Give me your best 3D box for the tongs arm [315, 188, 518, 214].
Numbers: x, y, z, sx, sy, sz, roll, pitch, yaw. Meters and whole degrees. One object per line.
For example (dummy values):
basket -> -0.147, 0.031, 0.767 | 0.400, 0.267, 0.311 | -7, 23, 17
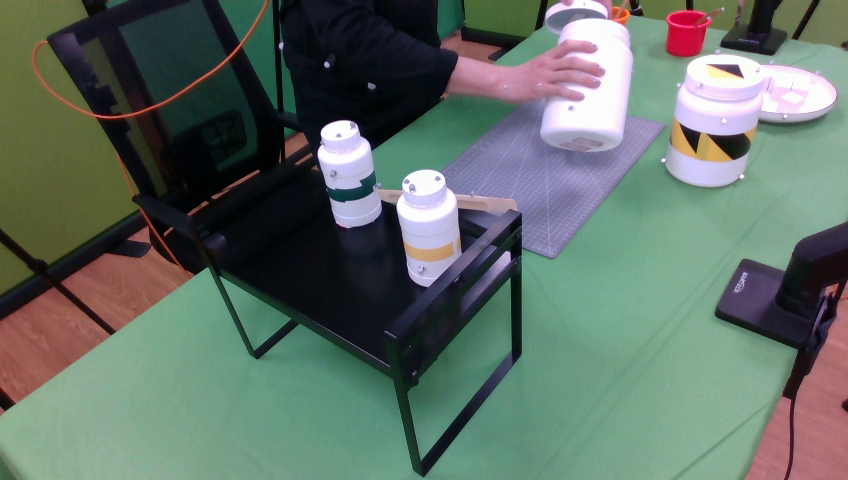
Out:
tongs arm -> -0.028, -0.060, 0.988 | 0.382, 0.027, 0.051 | 9, 44, 36

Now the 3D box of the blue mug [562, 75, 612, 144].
blue mug -> 0.298, -0.239, 1.143 | 0.081, 0.106, 0.117 | 30, 53, 36

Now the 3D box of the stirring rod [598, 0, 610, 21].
stirring rod -> 0.437, -0.551, 1.462 | 0.014, 0.006, 0.175 | -11, 83, 1

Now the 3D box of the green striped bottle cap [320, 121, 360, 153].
green striped bottle cap -> -0.097, -0.120, 0.699 | 0.044, 0.020, 0.044 | -3, 40, 3

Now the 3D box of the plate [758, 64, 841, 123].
plate -> 0.695, -0.283, 1.189 | 0.207, 0.039, 0.206 | -4, 40, 4

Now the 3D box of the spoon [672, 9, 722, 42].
spoon -> 0.606, -0.476, 1.345 | 0.042, 0.021, 0.193 | -6, -3, -2

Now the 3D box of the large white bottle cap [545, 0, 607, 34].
large white bottle cap -> 0.288, -0.421, 1.150 | 0.114, 0.115, 0.018 | 4, 86, 14

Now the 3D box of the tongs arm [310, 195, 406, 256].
tongs arm -> -0.078, -0.013, 0.944 | 0.028, 0.028, 0.384 | -42, 39, -23

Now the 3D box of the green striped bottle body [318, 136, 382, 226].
green striped bottle body -> -0.090, -0.080, 0.733 | 0.063, 0.120, 0.063 | -5, 41, 4

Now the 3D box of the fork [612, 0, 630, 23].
fork -> 0.479, -0.556, 1.452 | 0.028, 0.019, 0.207 | 41, 103, 40

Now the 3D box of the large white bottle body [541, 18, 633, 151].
large white bottle body -> 0.268, -0.251, 0.990 | 0.130, 0.131, 0.184 | 7, 85, 17

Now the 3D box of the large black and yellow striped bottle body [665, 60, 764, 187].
large black and yellow striped bottle body -> 0.482, -0.196, 1.008 | 0.131, 0.185, 0.130 | -4, 41, 4

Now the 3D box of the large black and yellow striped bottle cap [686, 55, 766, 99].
large black and yellow striped bottle cap -> 0.474, -0.258, 0.952 | 0.115, 0.019, 0.114 | -5, 41, 5

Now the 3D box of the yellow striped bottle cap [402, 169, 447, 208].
yellow striped bottle cap -> 0.000, -0.052, 0.604 | 0.044, 0.019, 0.044 | -5, 43, 5

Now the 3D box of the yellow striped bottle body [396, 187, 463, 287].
yellow striped bottle body -> 0.006, -0.013, 0.638 | 0.063, 0.121, 0.062 | -5, 41, 5
